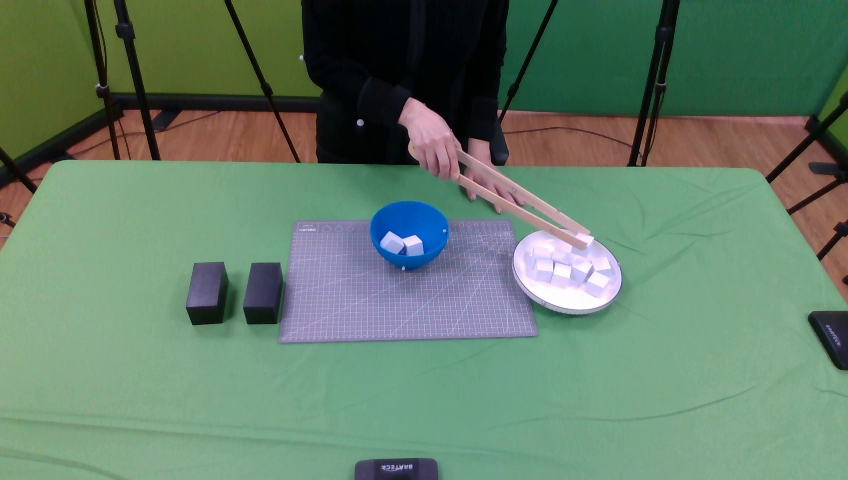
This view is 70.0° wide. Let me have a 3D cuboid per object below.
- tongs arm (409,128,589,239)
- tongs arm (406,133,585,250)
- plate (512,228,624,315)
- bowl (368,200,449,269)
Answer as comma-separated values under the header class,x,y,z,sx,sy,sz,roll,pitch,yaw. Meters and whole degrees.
class,x,y,z,sx,sy,sz,roll,pitch,yaw
tongs arm,0.139,-0.103,1.146,0.384,0.026,0.050,34,55,4
tongs arm,0.129,-0.087,1.133,0.387,0.028,0.028,31,59,1
plate,0.268,0.063,1.146,0.208,0.039,0.206,3,46,-3
bowl,-0.030,0.002,1.151,0.151,0.077,0.150,2,46,-2
